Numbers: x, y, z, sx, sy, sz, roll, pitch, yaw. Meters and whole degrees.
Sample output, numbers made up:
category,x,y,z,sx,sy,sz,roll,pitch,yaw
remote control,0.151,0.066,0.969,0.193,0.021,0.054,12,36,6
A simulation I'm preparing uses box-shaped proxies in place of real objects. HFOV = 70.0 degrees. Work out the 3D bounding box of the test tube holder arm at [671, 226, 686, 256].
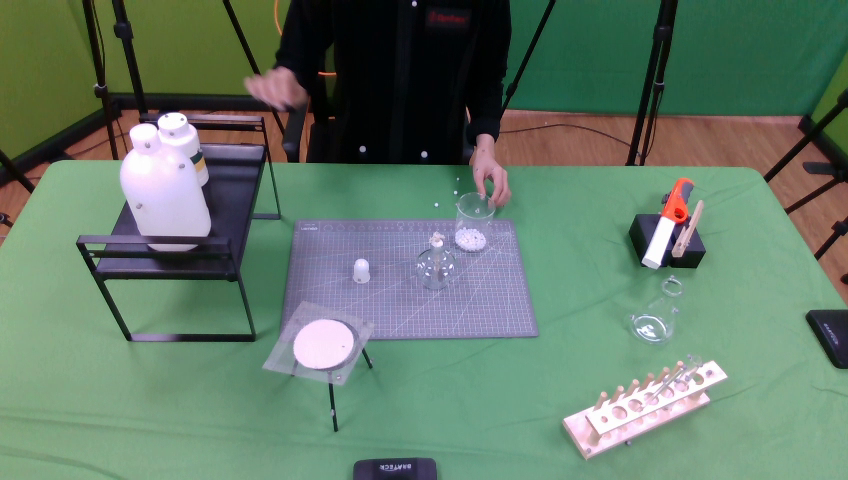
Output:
category,x,y,z,sx,sy,sz,roll,pitch,yaw
test tube holder arm,0.494,0.001,1.167,0.010,0.015,0.087,1,36,42

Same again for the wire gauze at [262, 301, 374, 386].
category,x,y,z,sx,sy,sz,roll,pitch,yaw
wire gauze,-0.150,0.148,0.873,0.121,0.011,0.124,14,46,12

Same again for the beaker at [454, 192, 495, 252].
category,x,y,z,sx,sy,sz,roll,pitch,yaw
beaker,0.097,-0.034,1.180,0.074,0.101,0.084,23,49,17

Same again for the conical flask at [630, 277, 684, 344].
category,x,y,z,sx,sy,sz,roll,pitch,yaw
conical flask,0.408,0.117,1.045,0.075,0.122,0.075,2,46,-2

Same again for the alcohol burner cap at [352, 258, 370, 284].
category,x,y,z,sx,sy,sz,roll,pitch,yaw
alcohol burner cap,-0.117,0.055,1.118,0.034,0.048,0.033,2,46,-1

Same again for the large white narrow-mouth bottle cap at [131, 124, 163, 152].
category,x,y,z,sx,sy,sz,roll,pitch,yaw
large white narrow-mouth bottle cap,-0.371,-0.138,0.812,0.038,0.024,0.037,3,46,-3

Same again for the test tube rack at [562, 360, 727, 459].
category,x,y,z,sx,sy,sz,roll,pitch,yaw
test tube rack,0.341,0.247,0.940,0.243,0.085,0.066,-16,49,-19

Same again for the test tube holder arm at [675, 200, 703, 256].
category,x,y,z,sx,sy,sz,roll,pitch,yaw
test tube holder arm,0.523,-0.025,1.190,0.013,0.015,0.178,0,36,42

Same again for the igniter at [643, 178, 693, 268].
category,x,y,z,sx,sy,sz,roll,pitch,yaw
igniter,0.488,-0.042,1.205,0.057,0.025,0.276,30,51,11

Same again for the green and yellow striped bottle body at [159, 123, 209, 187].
category,x,y,z,sx,sy,sz,roll,pitch,yaw
green and yellow striped bottle body,-0.395,-0.145,0.989,0.063,0.120,0.063,2,46,-2

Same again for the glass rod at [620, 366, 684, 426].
category,x,y,z,sx,sy,sz,roll,pitch,yaw
glass rod,0.322,0.227,0.866,0.008,0.200,0.008,5,51,-7

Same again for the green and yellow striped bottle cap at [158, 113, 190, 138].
category,x,y,z,sx,sy,sz,roll,pitch,yaw
green and yellow striped bottle cap,-0.393,-0.180,0.951,0.045,0.020,0.045,2,44,-2

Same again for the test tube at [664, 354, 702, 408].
category,x,y,z,sx,sy,sz,roll,pitch,yaw
test tube,0.385,0.215,0.906,0.017,0.151,0.017,-1,49,1

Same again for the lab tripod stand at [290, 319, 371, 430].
category,x,y,z,sx,sy,sz,roll,pitch,yaw
lab tripod stand,-0.146,0.193,0.923,0.148,0.132,0.147,1,47,-1

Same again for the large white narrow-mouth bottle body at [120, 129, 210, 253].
category,x,y,z,sx,sy,sz,roll,pitch,yaw
large white narrow-mouth bottle body,-0.378,-0.078,0.875,0.102,0.195,0.101,3,46,-3

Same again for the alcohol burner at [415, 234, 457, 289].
category,x,y,z,sx,sy,sz,roll,pitch,yaw
alcohol burner,0.022,0.033,1.100,0.078,0.120,0.077,1,47,-1
